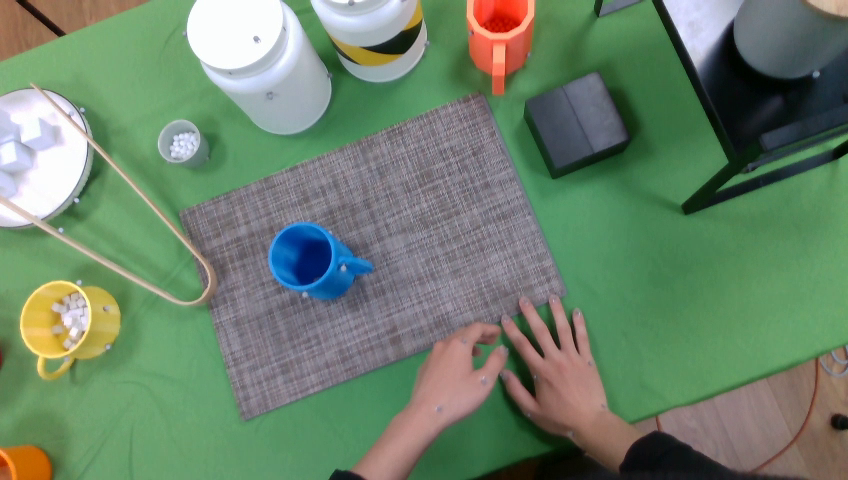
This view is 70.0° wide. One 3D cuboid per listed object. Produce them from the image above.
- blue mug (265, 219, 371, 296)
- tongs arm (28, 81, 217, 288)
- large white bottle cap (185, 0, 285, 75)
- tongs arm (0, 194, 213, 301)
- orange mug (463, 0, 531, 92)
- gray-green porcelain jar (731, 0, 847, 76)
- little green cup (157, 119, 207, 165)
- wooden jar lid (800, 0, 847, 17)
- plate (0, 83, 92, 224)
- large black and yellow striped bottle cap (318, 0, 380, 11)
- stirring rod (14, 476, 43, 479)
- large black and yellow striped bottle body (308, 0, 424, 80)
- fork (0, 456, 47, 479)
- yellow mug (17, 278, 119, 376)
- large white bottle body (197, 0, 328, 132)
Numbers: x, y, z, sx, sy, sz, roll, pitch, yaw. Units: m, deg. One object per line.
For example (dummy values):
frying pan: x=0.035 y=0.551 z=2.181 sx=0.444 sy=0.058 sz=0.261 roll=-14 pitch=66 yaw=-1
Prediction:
blue mug: x=-0.125 y=0.026 z=0.761 sx=0.116 sy=0.106 sz=0.082 roll=4 pitch=79 yaw=7
tongs arm: x=-0.414 y=-0.081 z=0.831 sx=0.387 sy=0.028 sz=0.028 roll=45 pitch=78 yaw=5
large white bottle cap: x=-0.218 y=-0.246 z=0.696 sx=0.115 sy=0.018 sz=0.114 roll=-1 pitch=80 yaw=6
tongs arm: x=-0.463 y=-0.014 z=0.821 sx=0.384 sy=0.026 sz=0.050 roll=31 pitch=81 yaw=3
orange mug: x=0.096 y=-0.265 z=0.798 sx=0.083 sy=0.101 sz=0.125 roll=1 pitch=75 yaw=7
gray-green porcelain jar: x=0.357 y=-0.222 z=0.566 sx=0.106 sy=0.127 sz=0.105 roll=-1 pitch=79 yaw=7
little green cup: x=-0.337 y=-0.135 z=0.850 sx=0.061 sy=0.039 sz=0.061 roll=-1 pitch=80 yaw=5
wooden jar lid: x=0.350 y=-0.235 z=0.505 sx=0.108 sy=0.021 sz=0.108 roll=-1 pitch=82 yaw=7
plate: x=-0.572 y=-0.121 z=0.872 sx=0.207 sy=0.039 sz=0.207 roll=-1 pitch=80 yaw=6
large black and yellow striped bottle cap: x=-0.085 y=-0.320 z=0.697 sx=0.115 sy=0.019 sz=0.114 roll=-1 pitch=79 yaw=5
stirring rod: x=-0.569 y=0.309 z=0.739 sx=0.006 sy=0.177 sz=0.014 roll=-41 pitch=56 yaw=41
large black and yellow striped bottle body: x=-0.074 y=-0.303 z=0.779 sx=0.130 sy=0.185 sz=0.130 roll=-1 pitch=79 yaw=6
fork: x=-0.583 y=0.295 z=0.740 sx=0.209 sy=0.018 sz=0.028 roll=2 pitch=74 yaw=-38
yellow mug: x=-0.477 y=0.118 z=0.804 sx=0.100 sy=0.064 sz=0.130 roll=17 pitch=83 yaw=8
large white bottle body: x=-0.208 y=-0.231 z=0.779 sx=0.130 sy=0.185 sz=0.130 roll=-1 pitch=79 yaw=6
